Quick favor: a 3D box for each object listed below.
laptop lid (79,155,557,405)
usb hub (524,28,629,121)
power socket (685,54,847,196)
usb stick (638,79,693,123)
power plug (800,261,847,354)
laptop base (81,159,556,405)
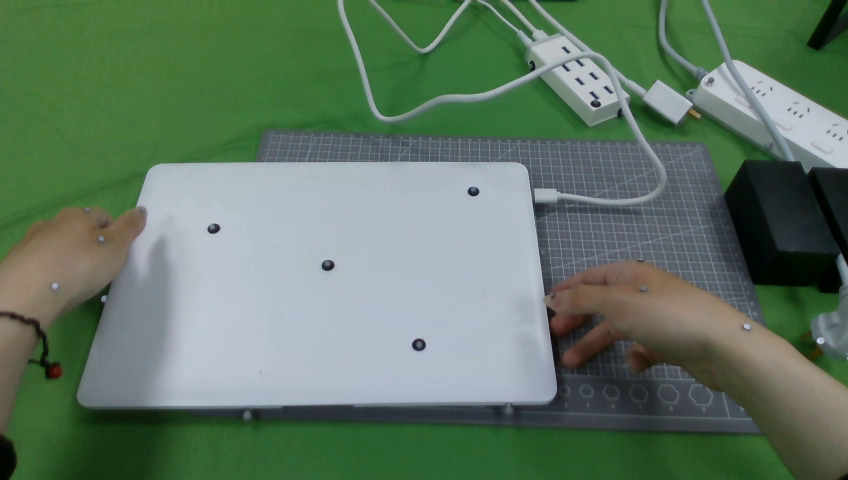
[{"bbox_3d":[-0.078,0.019,0.501,0.357,0.013,0.239,1,57,1],"label":"laptop lid"},{"bbox_3d":[0.162,-0.181,0.657,0.049,0.025,0.124,-23,57,-16],"label":"usb hub"},{"bbox_3d":[0.375,-0.115,0.607,0.072,0.033,0.224,-35,61,-23],"label":"power socket"},{"bbox_3d":[0.255,-0.142,0.629,0.059,0.027,0.021,31,16,4],"label":"usb stick"},{"bbox_3d":[0.324,0.059,0.477,0.035,0.053,0.072,39,48,4],"label":"power plug"},{"bbox_3d":[-0.078,0.025,0.513,0.354,0.023,0.233,-1,57,0],"label":"laptop base"}]
